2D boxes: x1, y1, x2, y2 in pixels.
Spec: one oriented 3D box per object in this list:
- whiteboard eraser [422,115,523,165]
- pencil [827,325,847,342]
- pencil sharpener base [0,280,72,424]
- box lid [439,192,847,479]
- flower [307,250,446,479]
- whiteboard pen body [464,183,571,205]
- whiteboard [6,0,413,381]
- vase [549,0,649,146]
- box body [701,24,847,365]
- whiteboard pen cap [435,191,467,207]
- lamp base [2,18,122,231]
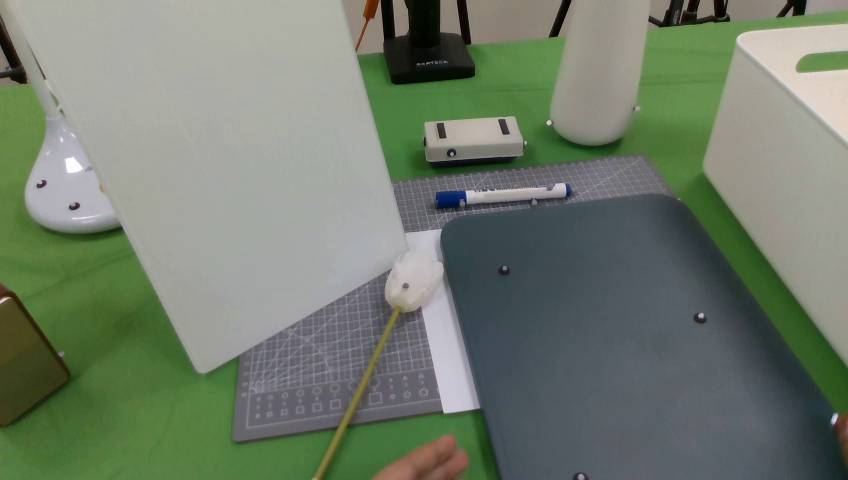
[{"bbox_3d":[0.055,-0.114,0.704,0.113,0.042,0.055,-6,41,-4],"label":"whiteboard eraser"},{"bbox_3d":[0.431,0.099,0.486,0.193,0.012,0.012,14,45,14],"label":"pencil"},{"bbox_3d":[-0.333,0.076,0.459,0.076,0.108,0.061,25,50,26],"label":"pencil sharpener base"},{"bbox_3d":[0.168,0.090,0.503,0.264,0.015,0.367,-7,44,-6],"label":"box lid"},{"bbox_3d":[-0.062,0.141,0.451,0.044,0.038,0.359,19,51,11],"label":"flower"},{"bbox_3d":[0.088,-0.049,0.647,0.141,0.017,0.017,-5,43,-4],"label":"whiteboard pen body"},{"bbox_3d":[-0.166,-0.082,0.520,0.217,0.308,0.142,-29,30,-26],"label":"whiteboard"},{"bbox_3d":[0.201,-0.207,0.685,0.098,0.202,0.097,0,43,0],"label":"vase"},{"bbox_3d":[0.443,-0.036,0.525,0.254,0.162,0.360,-6,43,-5],"label":"box body"},{"bbox_3d":[0.029,-0.044,0.643,0.033,0.018,0.018,-2,43,-5],"label":"whiteboard pen cap"},{"bbox_3d":[-0.362,-0.126,0.620,0.178,0.182,0.160,22,48,25],"label":"lamp base"}]
